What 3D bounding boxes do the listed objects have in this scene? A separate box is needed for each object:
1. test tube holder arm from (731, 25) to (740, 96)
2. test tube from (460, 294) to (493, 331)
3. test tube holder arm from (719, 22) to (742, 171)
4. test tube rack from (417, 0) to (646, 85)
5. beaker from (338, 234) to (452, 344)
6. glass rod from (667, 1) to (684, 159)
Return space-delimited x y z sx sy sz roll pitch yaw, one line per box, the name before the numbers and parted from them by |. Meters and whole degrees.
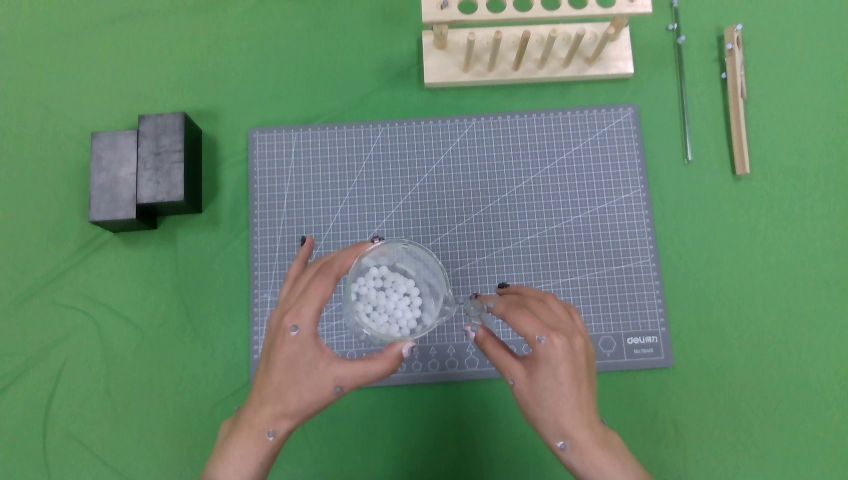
test tube holder arm | 0.360 -0.209 0.709 0.010 0.015 0.087 9 77 -28
test tube | 0.048 0.065 0.524 0.017 0.151 0.017 -2 76 10
test tube holder arm | 0.353 -0.166 0.697 0.013 0.015 0.177 8 77 -28
test tube rack | 0.115 -0.228 0.679 0.242 0.085 0.066 -3 78 0
beaker | -0.027 0.044 0.472 0.084 0.100 0.073 20 74 -7
glass rod | 0.294 -0.190 0.710 0.008 0.008 0.199 1 79 0
